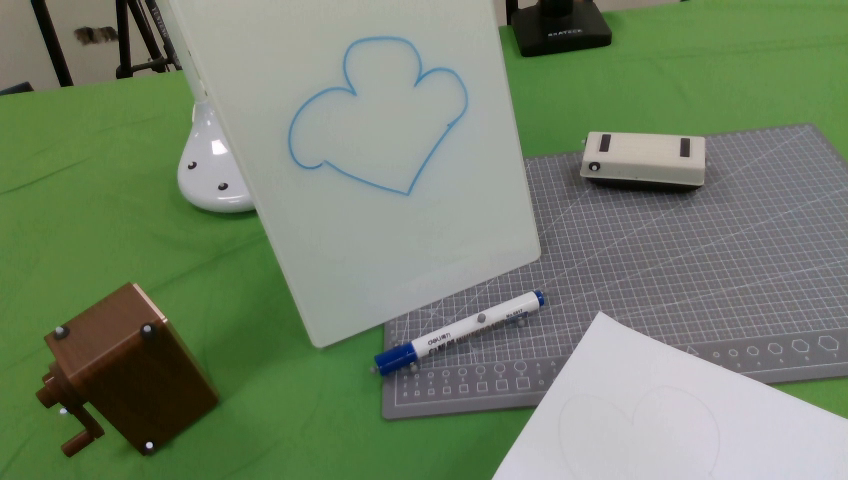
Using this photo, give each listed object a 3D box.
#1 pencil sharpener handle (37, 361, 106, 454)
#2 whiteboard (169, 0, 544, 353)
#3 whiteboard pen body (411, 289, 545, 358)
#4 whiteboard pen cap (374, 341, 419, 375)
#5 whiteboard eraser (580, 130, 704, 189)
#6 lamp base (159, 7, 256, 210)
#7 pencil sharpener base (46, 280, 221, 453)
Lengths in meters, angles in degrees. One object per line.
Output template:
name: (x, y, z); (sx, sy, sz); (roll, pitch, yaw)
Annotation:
pencil sharpener handle: (-0.248, 0.117, 0.416); (0.030, 0.068, 0.035); (-38, 38, -25)
whiteboard: (-0.049, -0.100, 0.518); (0.217, 0.308, 0.142); (-21, 26, -10)
whiteboard pen body: (0.033, 0.071, 0.486); (0.141, 0.017, 0.017); (-21, 45, -10)
whiteboard pen cap: (-0.021, 0.092, 0.476); (0.033, 0.018, 0.018); (-22, 45, -10)
whiteboard eraser: (0.213, -0.078, 0.592); (0.112, 0.042, 0.055); (7, 47, 17)
lamp base: (-0.219, -0.149, 0.646); (0.177, 0.182, 0.160); (25, 54, 34)
pencil sharpener base: (-0.212, 0.097, 0.448); (0.076, 0.108, 0.061); (-38, 51, -25)
